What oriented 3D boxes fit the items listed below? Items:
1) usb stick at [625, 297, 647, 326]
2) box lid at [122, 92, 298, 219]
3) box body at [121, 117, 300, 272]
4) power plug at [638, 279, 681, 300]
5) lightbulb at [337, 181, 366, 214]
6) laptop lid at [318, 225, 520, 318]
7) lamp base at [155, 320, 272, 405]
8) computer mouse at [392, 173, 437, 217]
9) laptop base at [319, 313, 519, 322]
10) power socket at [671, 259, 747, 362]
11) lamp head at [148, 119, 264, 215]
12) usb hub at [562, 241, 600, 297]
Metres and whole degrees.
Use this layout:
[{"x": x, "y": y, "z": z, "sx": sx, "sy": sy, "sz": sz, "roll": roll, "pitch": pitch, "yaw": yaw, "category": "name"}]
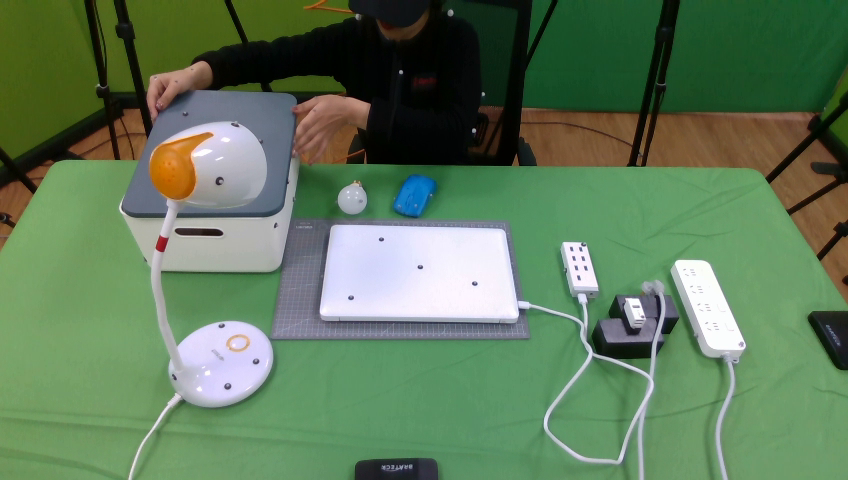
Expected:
[{"x": 0.360, "y": 0.117, "z": 1.034, "sx": 0.021, "sy": 0.027, "sz": 0.059, "roll": -2, "pitch": 44, "yaw": -2, "category": "usb stick"}, {"x": -0.379, "y": -0.168, "z": 1.123, "sx": 0.263, "sy": 0.015, "sz": 0.369, "roll": -1, "pitch": 46, "yaw": -5, "category": "box lid"}, {"x": -0.387, "y": -0.112, "z": 1.182, "sx": 0.254, "sy": 0.161, "sz": 0.361, "roll": 1, "pitch": 46, "yaw": -3, "category": "box body"}, {"x": 0.434, "y": 0.099, "z": 1.119, "sx": 0.073, "sy": 0.053, "sz": 0.035, "roll": 34, "pitch": 38, "yaw": -15, "category": "power plug"}, {"x": -0.148, "y": -0.094, "z": 1.261, "sx": 0.059, "sy": 0.060, "sz": 0.107, "roll": 4, "pitch": 30, "yaw": 0, "category": "lightbulb"}, {"x": -0.009, "y": 0.052, "z": 1.131, "sx": 0.357, "sy": 0.013, "sz": 0.240, "roll": 2, "pitch": 44, "yaw": -2, "category": "laptop lid"}, {"x": -0.330, "y": 0.149, "z": 0.918, "sx": 0.160, "sy": 0.181, "sz": 0.179, "roll": 26, "pitch": 52, "yaw": 20, "category": "lamp base"}, {"x": -0.018, "y": -0.099, "z": 1.282, "sx": 0.062, "sy": 0.041, "sz": 0.117, "roll": 20, "pitch": 52, "yaw": 12, "category": "computer mouse"}, {"x": -0.009, "y": 0.062, "z": 1.137, "sx": 0.354, "sy": 0.023, "sz": 0.234, "roll": 1, "pitch": 42, "yaw": -3, "category": "laptop base"}, {"x": 0.517, "y": 0.119, "z": 1.108, "sx": 0.072, "sy": 0.033, "sz": 0.225, "roll": 1, "pitch": 46, "yaw": -2, "category": "power socket"}, {"x": -0.276, "y": -0.087, "z": 0.740, "sx": 0.112, "sy": 0.112, "sz": 0.123, "roll": 20, "pitch": 23, "yaw": 15, "category": "lamp head"}, {"x": 0.300, "y": 0.054, "z": 1.162, "sx": 0.049, "sy": 0.025, "sz": 0.124, "roll": 3, "pitch": 46, "yaw": -3, "category": "usb hub"}]
